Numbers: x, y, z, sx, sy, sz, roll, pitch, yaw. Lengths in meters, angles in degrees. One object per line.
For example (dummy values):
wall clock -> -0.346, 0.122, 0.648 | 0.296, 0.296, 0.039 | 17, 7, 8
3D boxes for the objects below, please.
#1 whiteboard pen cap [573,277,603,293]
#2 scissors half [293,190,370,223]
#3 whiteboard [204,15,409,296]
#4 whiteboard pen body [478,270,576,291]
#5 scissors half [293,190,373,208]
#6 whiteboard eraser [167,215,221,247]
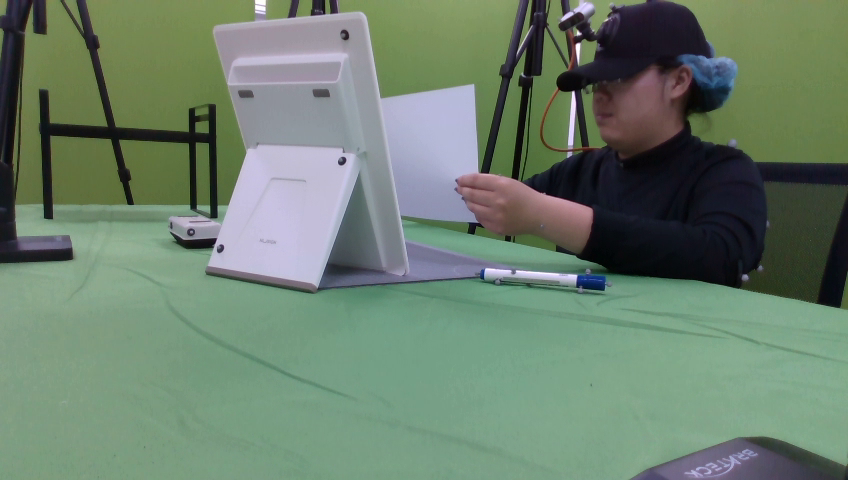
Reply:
whiteboard pen cap -> 0.186, 0.051, 0.687 | 0.033, 0.018, 0.018 | 4, 8, 17
scissors half -> -0.205, -0.077, 1.338 | 0.175, 0.040, 0.013 | 21, 12, -8
whiteboard -> -0.166, -0.072, 0.669 | 0.216, 0.305, 0.144 | 8, 30, 30
whiteboard pen body -> 0.132, 0.048, 0.706 | 0.140, 0.017, 0.017 | 4, 7, 18
scissors half -> -0.201, -0.096, 1.332 | 0.175, 0.040, 0.013 | 5, 19, -4
whiteboard eraser -> -0.350, -0.014, 0.920 | 0.056, 0.042, 0.112 | 0, 7, -35
